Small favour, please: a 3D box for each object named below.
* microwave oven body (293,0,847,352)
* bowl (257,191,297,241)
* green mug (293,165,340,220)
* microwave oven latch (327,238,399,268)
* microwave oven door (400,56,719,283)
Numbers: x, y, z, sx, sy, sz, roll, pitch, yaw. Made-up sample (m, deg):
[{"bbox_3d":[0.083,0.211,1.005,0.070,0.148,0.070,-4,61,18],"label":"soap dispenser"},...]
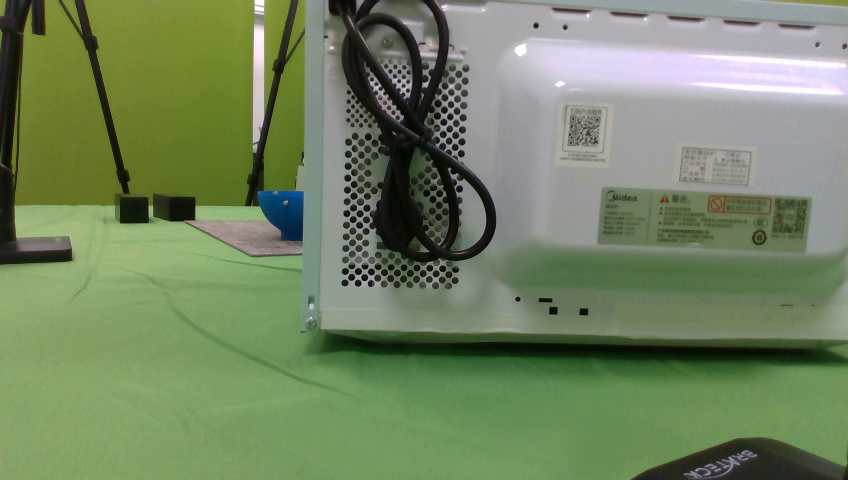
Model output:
[{"bbox_3d":[0.122,-0.055,0.550,0.442,0.260,0.325,3,7,-5],"label":"microwave oven body"},{"bbox_3d":[-0.206,-0.041,1.027,0.151,0.077,0.151,3,8,0],"label":"bowl"},{"bbox_3d":[-0.209,-0.097,1.223,0.092,0.105,0.125,4,8,11],"label":"green mug"},{"bbox_3d":[-0.069,0.015,0.694,0.079,0.029,0.030,3,7,-3],"label":"microwave oven latch"},{"bbox_3d":[0.155,-0.077,0.698,0.356,0.243,0.039,2,8,-5],"label":"microwave oven door"}]
